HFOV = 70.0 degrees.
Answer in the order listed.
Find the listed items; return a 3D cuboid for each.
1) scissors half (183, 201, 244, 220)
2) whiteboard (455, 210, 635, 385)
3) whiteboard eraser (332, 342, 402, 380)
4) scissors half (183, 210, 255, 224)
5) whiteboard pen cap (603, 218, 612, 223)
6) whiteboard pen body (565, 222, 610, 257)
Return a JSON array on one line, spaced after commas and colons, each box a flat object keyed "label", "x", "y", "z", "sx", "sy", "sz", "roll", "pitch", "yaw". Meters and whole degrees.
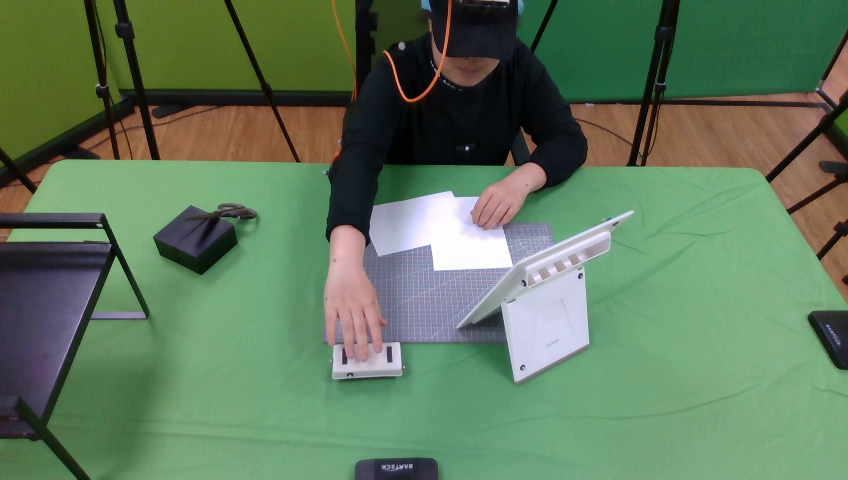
[{"label": "scissors half", "x": -0.405, "y": -0.054, "z": 1.163, "sx": 0.040, "sy": 0.013, "sz": 0.175, "roll": 29, "pitch": 18, "yaw": 7}, {"label": "whiteboard", "x": 0.211, "y": 0.111, "z": 0.955, "sx": 0.217, "sy": 0.306, "sz": 0.143, "roll": -21, "pitch": 71, "yaw": -23}, {"label": "whiteboard eraser", "x": -0.094, "y": 0.198, "z": 0.985, "sx": 0.113, "sy": 0.042, "sz": 0.055, "roll": -2, "pitch": 45, "yaw": -6}, {"label": "scissors half", "x": -0.389, "y": -0.043, "z": 1.158, "sx": 0.040, "sy": 0.013, "sz": 0.175, "roll": 40, "pitch": 21, "yaw": 22}, {"label": "whiteboard pen cap", "x": 0.379, "y": -0.031, "z": 1.255, "sx": 0.033, "sy": 0.018, "sz": 0.018, "roll": -33, "pitch": 57, "yaw": -29}, {"label": "whiteboard pen body", "x": 0.335, "y": -0.004, "z": 1.228, "sx": 0.141, "sy": 0.017, "sz": 0.017, "roll": -33, "pitch": 56, "yaw": -29}]
